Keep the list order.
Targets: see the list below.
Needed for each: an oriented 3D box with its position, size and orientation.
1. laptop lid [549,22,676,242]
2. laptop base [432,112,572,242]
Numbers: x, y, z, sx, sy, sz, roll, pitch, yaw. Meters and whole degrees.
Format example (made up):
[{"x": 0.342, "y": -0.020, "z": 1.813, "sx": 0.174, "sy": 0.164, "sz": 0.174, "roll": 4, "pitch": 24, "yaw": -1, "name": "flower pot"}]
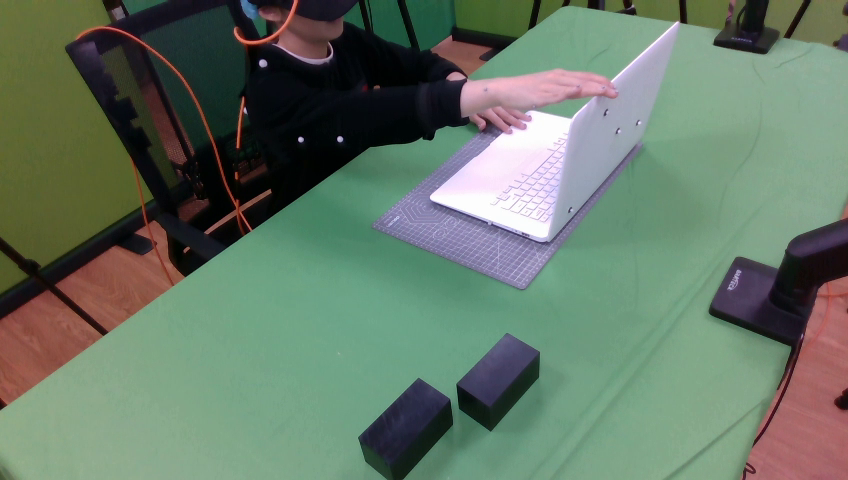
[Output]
[{"x": 0.301, "y": -0.173, "z": 0.953, "sx": 0.013, "sy": 0.242, "sz": 0.358, "roll": 28, "pitch": 50, "yaw": 26, "name": "laptop lid"}, {"x": 0.208, "y": -0.128, "z": 1.098, "sx": 0.233, "sy": 0.023, "sz": 0.355, "roll": 20, "pitch": 47, "yaw": 34, "name": "laptop base"}]
